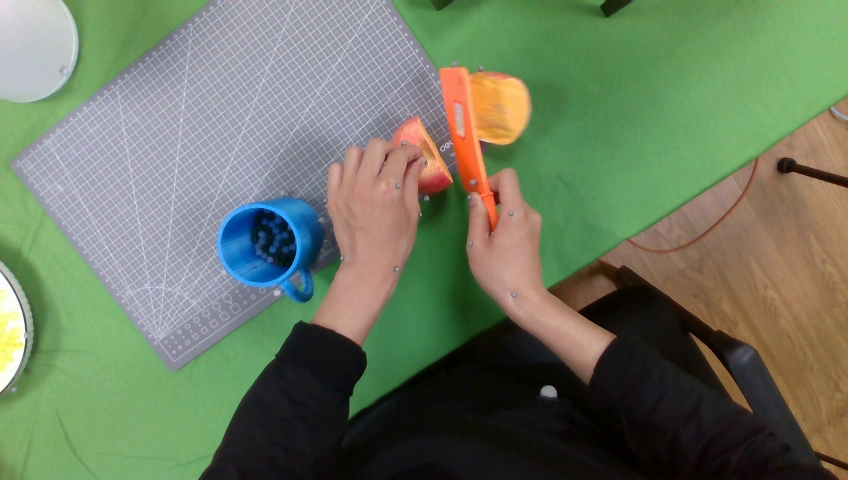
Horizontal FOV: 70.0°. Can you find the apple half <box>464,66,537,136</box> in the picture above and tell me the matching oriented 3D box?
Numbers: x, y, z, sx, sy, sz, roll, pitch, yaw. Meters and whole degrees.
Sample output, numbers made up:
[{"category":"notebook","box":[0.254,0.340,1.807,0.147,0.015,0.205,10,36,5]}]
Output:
[{"category":"apple half","box":[0.079,-0.150,0.639,0.081,0.032,0.082,4,126,6]}]

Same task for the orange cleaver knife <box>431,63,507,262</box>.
[{"category":"orange cleaver knife","box":[0.043,-0.080,0.616,0.012,0.077,0.211,-17,97,-17]}]

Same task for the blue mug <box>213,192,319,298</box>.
[{"category":"blue mug","box":[-0.153,0.008,0.635,0.082,0.105,0.117,-27,97,5]}]

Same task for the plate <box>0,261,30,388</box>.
[{"category":"plate","box":[-0.551,0.088,0.693,0.209,0.038,0.209,0,100,1]}]

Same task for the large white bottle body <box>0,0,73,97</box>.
[{"category":"large white bottle body","box":[-0.445,-0.209,0.569,0.130,0.184,0.131,0,98,2]}]

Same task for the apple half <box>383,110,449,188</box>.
[{"category":"apple half","box":[-0.014,-0.089,0.633,0.053,0.074,0.081,-29,101,9]}]
